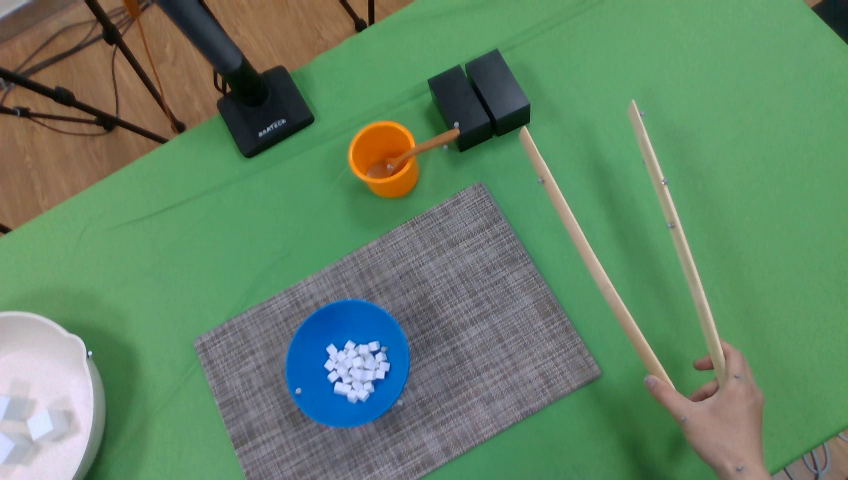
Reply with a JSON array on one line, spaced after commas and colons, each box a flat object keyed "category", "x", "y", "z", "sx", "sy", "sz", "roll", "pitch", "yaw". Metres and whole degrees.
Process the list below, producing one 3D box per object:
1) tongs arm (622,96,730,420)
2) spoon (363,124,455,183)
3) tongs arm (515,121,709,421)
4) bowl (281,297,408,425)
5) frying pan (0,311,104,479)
[{"category": "tongs arm", "x": 0.271, "y": 0.006, "z": 0.691, "sx": 0.051, "sy": 0.026, "sz": 0.382, "roll": -10, "pitch": 71, "yaw": -9}, {"category": "spoon", "x": -0.024, "y": -0.113, "z": 0.783, "sx": 0.022, "sy": 0.193, "sz": 0.041, "roll": 25, "pitch": 65, "yaw": -28}, {"category": "tongs arm", "x": 0.197, "y": 0.026, "z": 0.679, "sx": 0.028, "sy": 0.028, "sz": 0.385, "roll": -21, "pitch": 72, "yaw": -16}, {"category": "bowl", "x": -0.088, "y": 0.151, "z": 0.744, "sx": 0.151, "sy": 0.077, "sz": 0.150, "roll": -2, "pitch": 72, "yaw": 8}, {"category": "frying pan", "x": -0.485, "y": 0.306, "z": 0.746, "sx": 0.306, "sy": 0.103, "sz": 0.483, "roll": -42, "pitch": 63, "yaw": -5}]
